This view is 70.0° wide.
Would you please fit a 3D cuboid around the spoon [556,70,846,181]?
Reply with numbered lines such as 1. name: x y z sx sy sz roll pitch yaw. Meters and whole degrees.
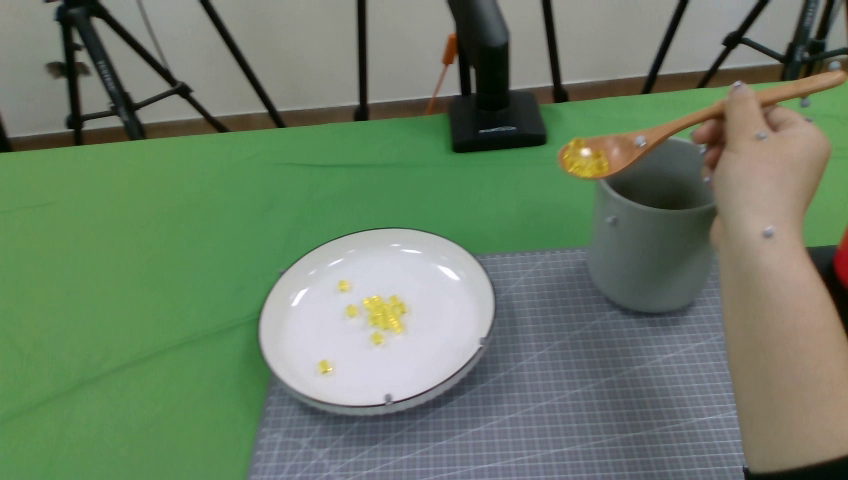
1. spoon: 0.187 -0.080 0.417 0.193 0.022 0.041 -19 47 15

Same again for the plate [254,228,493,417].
1. plate: -0.043 0.070 0.538 0.207 0.039 0.205 -4 42 4

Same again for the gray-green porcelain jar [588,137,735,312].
1. gray-green porcelain jar: 0.199 -0.008 0.525 0.106 0.128 0.105 -4 42 4
